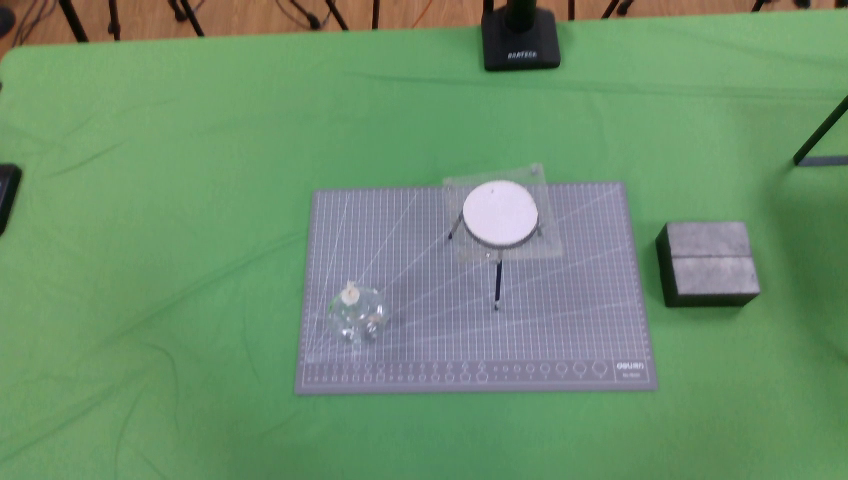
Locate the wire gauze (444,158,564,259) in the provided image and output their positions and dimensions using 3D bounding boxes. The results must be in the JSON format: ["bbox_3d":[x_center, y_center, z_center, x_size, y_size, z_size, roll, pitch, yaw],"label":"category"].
[{"bbox_3d":[0.091,-0.036,0.703,0.125,0.011,0.120,-6,65,-1],"label":"wire gauze"}]

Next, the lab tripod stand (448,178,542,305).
[{"bbox_3d":[0.096,-0.010,0.765,0.148,0.132,0.147,-1,64,2],"label":"lab tripod stand"}]

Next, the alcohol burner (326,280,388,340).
[{"bbox_3d":[-0.085,0.080,0.743,0.078,0.120,0.077,-1,63,2],"label":"alcohol burner"}]
